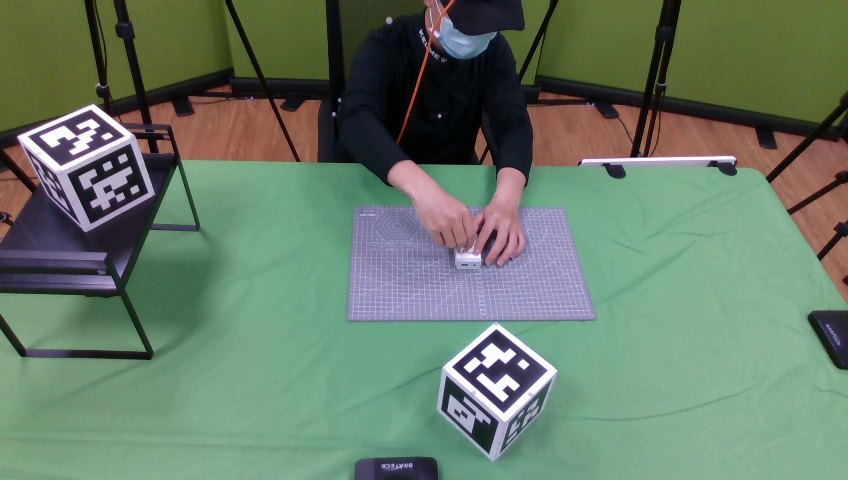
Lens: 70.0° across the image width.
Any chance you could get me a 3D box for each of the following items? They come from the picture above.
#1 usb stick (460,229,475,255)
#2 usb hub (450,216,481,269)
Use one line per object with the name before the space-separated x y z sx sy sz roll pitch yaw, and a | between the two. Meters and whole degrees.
usb stick | 0.082 0.009 1.147 0.027 0.059 0.021 -2 36 -8
usb hub | 0.082 0.004 1.194 0.049 0.025 0.124 1 46 -5
